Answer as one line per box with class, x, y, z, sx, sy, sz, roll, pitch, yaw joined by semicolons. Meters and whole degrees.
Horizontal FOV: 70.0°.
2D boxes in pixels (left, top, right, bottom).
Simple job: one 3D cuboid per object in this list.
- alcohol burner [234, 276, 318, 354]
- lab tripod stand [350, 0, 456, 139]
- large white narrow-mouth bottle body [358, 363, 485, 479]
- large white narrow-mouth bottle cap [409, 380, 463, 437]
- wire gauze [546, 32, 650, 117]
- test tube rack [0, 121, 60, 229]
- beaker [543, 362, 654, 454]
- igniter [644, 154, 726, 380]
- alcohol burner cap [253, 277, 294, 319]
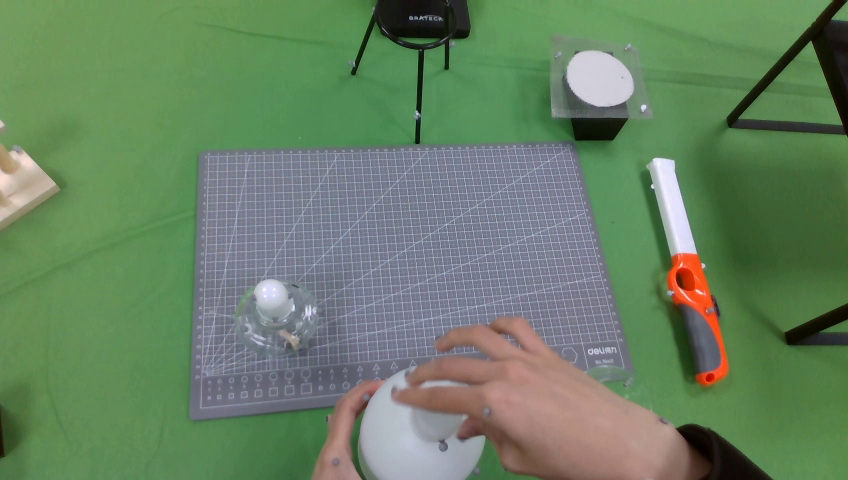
alcohol burner;-0.139;0.064;0.567;0.078;0.120;0.077;4;63;-8
lab tripod stand;-0.015;-0.214;0.704;0.149;0.132;0.147;4;66;-8
large white narrow-mouth bottle body;-0.003;0.157;0.503;0.102;0.196;0.101;3;64;-6
large white narrow-mouth bottle cap;0.008;0.117;0.422;0.038;0.024;0.037;3;65;-6
wire gauze;0.211;-0.203;0.746;0.122;0.011;0.124;4;65;-6
test tube rack;-0.489;-0.017;0.571;0.066;0.085;0.242;42;67;12
beaker;0.157;0.162;0.576;0.084;0.101;0.073;28;65;6
igniter;0.298;0.023;0.698;0.057;0.025;0.274;4;65;-18
alcohol burner cap;-0.134;0.050;0.534;0.034;0.048;0.033;2;71;-4
